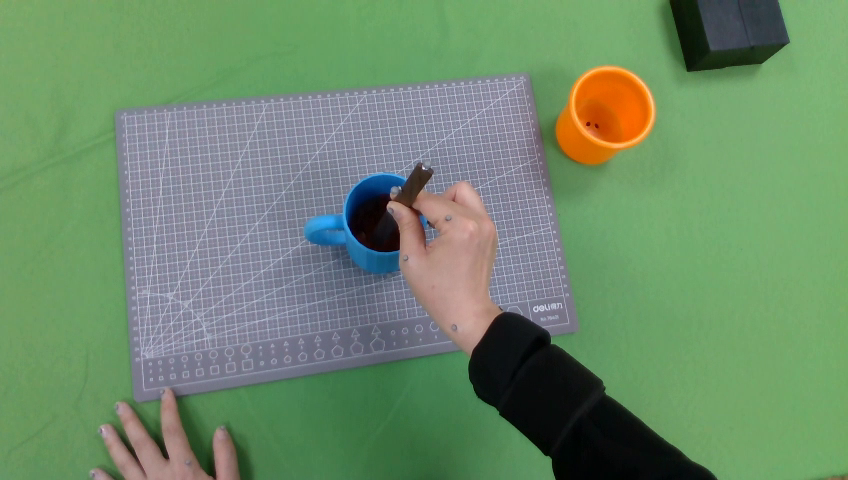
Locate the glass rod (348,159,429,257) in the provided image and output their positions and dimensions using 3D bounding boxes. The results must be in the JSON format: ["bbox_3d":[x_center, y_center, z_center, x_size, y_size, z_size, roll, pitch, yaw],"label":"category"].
[{"bbox_3d":[-0.035,-0.020,0.508,0.008,0.200,0.008,8,67,-20],"label":"glass rod"}]

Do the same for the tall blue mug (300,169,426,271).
[{"bbox_3d":[-0.055,-0.008,0.584,0.107,0.108,0.077,-31,84,-12],"label":"tall blue mug"}]
